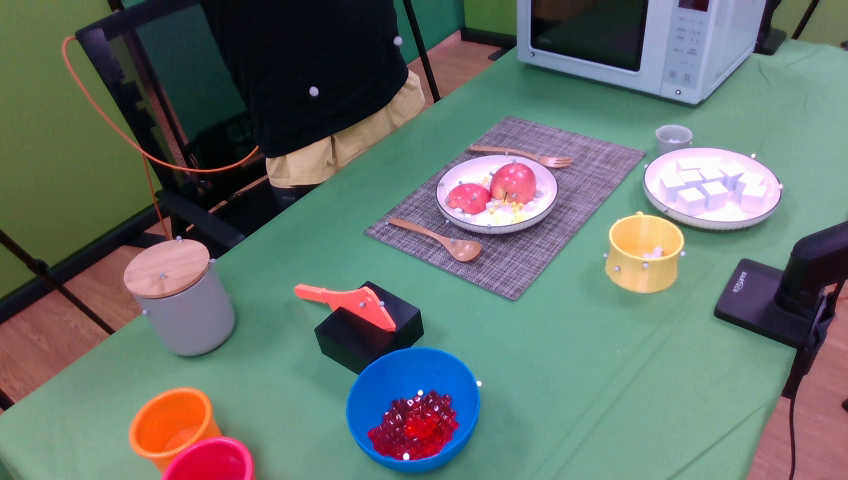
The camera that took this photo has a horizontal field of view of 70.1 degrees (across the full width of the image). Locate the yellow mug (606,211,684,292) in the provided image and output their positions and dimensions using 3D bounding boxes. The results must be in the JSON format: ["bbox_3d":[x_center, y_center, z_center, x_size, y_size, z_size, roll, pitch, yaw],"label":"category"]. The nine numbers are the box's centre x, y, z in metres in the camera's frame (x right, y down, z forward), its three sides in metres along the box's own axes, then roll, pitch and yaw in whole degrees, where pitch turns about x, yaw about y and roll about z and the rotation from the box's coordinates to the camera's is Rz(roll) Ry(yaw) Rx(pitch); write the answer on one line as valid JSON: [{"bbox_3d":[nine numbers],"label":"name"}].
[{"bbox_3d":[0.318,0.007,0.883,0.100,0.064,0.130,0,41,8],"label":"yellow mug"}]

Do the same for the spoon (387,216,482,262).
[{"bbox_3d":[0.012,-0.009,0.973,0.192,0.022,0.041,25,72,31],"label":"spoon"}]

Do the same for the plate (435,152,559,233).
[{"bbox_3d":[0.123,-0.078,1.026,0.209,0.038,0.208,-4,40,4],"label":"plate"}]

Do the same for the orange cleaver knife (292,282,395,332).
[{"bbox_3d":[-0.116,0.091,0.835,0.209,0.077,0.012,2,31,48],"label":"orange cleaver knife"}]

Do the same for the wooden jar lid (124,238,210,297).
[{"bbox_3d":[-0.335,0.039,0.794,0.108,0.021,0.108,-2,40,2],"label":"wooden jar lid"}]

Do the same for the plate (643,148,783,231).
[{"bbox_3d":[0.464,-0.080,0.986,0.207,0.039,0.206,-4,41,4],"label":"plate"}]

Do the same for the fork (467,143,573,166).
[{"bbox_3d":[0.175,-0.163,1.131,0.206,0.019,0.028,14,59,21],"label":"fork"}]

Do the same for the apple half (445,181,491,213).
[{"bbox_3d":[0.076,-0.083,1.029,0.081,0.033,0.081,-2,41,2],"label":"apple half"}]

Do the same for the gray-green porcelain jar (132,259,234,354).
[{"bbox_3d":[-0.328,0.087,0.836,0.106,0.127,0.105,-4,41,4],"label":"gray-green porcelain jar"}]

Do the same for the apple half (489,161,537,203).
[{"bbox_3d":[0.154,-0.106,1.030,0.080,0.053,0.075,22,46,31],"label":"apple half"}]

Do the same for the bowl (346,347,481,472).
[{"bbox_3d":[-0.008,0.205,0.691,0.151,0.077,0.150,-4,40,4],"label":"bowl"}]

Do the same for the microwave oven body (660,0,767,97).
[{"bbox_3d":[0.473,-0.516,1.313,0.438,0.261,0.327,26,51,34],"label":"microwave oven body"}]

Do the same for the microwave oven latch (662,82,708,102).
[{"bbox_3d":[0.518,-0.298,1.202,0.078,0.029,0.030,28,53,35],"label":"microwave oven latch"}]

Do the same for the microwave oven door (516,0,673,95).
[{"bbox_3d":[0.344,-0.458,1.256,0.353,0.245,0.039,26,51,33],"label":"microwave oven door"}]

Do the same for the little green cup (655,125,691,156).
[{"bbox_3d":[0.450,-0.178,1.099,0.061,0.039,0.061,-5,40,4],"label":"little green cup"}]
